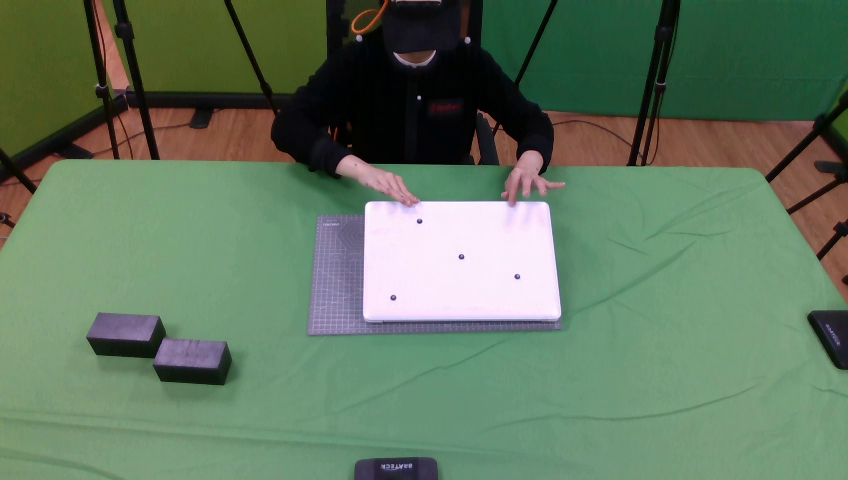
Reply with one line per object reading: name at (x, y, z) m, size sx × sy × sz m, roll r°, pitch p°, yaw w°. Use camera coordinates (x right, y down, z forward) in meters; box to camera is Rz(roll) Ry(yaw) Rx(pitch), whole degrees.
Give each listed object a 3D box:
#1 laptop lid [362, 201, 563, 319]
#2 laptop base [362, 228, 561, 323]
laptop lid at (0.066, 0.032, 1.099) m, size 0.357 × 0.013 × 0.240 m, roll 1°, pitch 65°, yaw -3°
laptop base at (0.064, 0.063, 1.143) m, size 0.355 × 0.023 × 0.234 m, roll 0°, pitch 43°, yaw -4°
